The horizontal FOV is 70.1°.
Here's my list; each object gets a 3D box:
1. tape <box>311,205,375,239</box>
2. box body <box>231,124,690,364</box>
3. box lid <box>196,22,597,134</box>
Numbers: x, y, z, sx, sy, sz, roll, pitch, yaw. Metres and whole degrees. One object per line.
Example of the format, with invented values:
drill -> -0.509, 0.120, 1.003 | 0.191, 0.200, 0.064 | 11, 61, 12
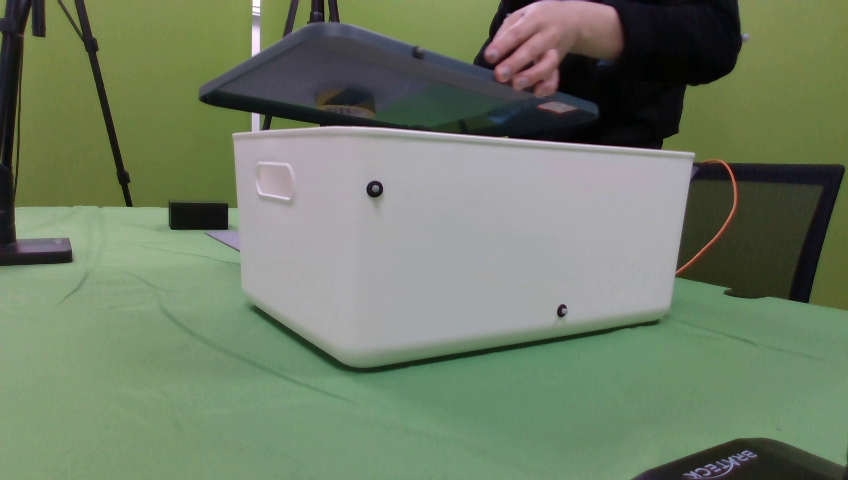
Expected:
tape -> -0.145, -0.034, 1.097 | 0.117, 0.052, 0.117 | 3, 8, 0
box body -> 0.031, -0.013, 0.563 | 0.366, 0.160, 0.253 | -3, 8, -33
box lid -> -0.022, -0.146, 0.644 | 0.374, 0.015, 0.262 | 1, -3, -41
